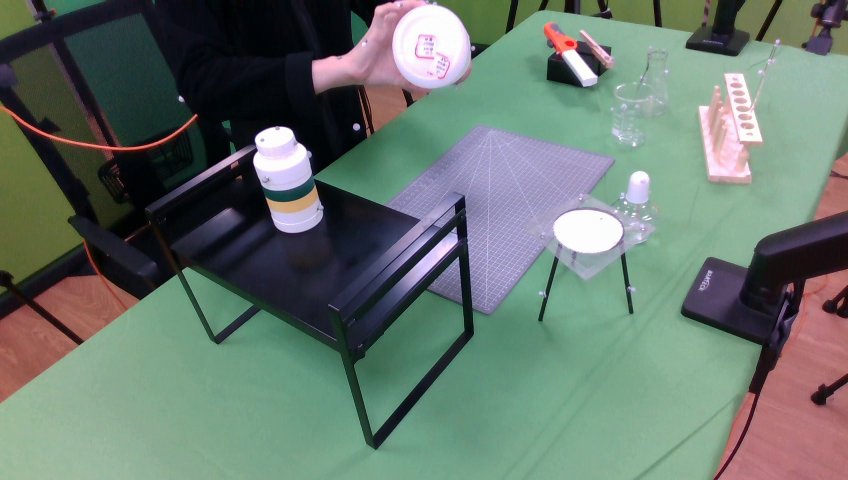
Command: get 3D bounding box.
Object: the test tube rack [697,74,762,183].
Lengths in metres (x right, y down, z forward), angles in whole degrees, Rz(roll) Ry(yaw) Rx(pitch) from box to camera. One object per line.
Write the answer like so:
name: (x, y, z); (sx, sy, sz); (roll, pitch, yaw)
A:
test tube rack: (0.547, -0.208, 1.095); (0.066, 0.085, 0.242); (5, 42, 15)

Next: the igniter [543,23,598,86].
igniter: (0.320, -0.419, 1.345); (0.057, 0.025, 0.274); (-12, 44, -3)

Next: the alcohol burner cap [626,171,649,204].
alcohol burner cap: (0.320, -0.081, 0.900); (0.034, 0.048, 0.033); (-4, 42, 4)

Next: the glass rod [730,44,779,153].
glass rod: (0.555, -0.234, 1.021); (0.008, 0.200, 0.008); (2, 40, -1)

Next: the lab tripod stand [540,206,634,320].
lab tripod stand: (0.218, 0.034, 0.821); (0.148, 0.132, 0.147); (-4, 42, 4)

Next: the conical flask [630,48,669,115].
conical flask: (0.456, -0.317, 1.205); (0.075, 0.122, 0.075); (-4, 41, 4)

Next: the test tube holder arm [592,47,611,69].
test tube holder arm: (0.386, -0.398, 1.317); (0.010, 0.015, 0.087); (-10, 41, -3)

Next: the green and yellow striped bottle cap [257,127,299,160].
green and yellow striped bottle cap: (-0.169, -0.112, 0.698); (0.045, 0.020, 0.045); (-5, 40, 5)

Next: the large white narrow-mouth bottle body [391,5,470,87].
large white narrow-mouth bottle body: (0.016, -0.270, 0.863); (0.101, 0.102, 0.194); (-1, 14, 7)

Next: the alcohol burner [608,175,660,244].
alcohol burner: (0.323, -0.053, 0.924); (0.078, 0.119, 0.077); (-4, 43, 4)

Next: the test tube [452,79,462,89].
test tube: (0.047, -0.282, 1.030); (0.017, 0.017, 0.151); (3, 0, 12)

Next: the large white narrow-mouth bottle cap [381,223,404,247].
large white narrow-mouth bottle cap: (-0.052, -0.009, 0.992); (0.038, 0.024, 0.037); (-5, 39, 4)

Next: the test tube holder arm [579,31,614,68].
test tube holder arm: (0.384, -0.428, 1.351); (0.013, 0.015, 0.177); (-11, 41, -4)

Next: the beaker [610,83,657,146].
beaker: (0.388, -0.235, 1.137); (0.074, 0.101, 0.083); (-31, 45, -26)

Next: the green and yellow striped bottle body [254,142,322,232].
green and yellow striped bottle body: (-0.165, -0.073, 0.732); (0.063, 0.120, 0.063); (-4, 41, 4)

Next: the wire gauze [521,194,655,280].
wire gauze: (0.207, -0.012, 0.772); (0.122, 0.011, 0.124); (-28, 44, -20)
